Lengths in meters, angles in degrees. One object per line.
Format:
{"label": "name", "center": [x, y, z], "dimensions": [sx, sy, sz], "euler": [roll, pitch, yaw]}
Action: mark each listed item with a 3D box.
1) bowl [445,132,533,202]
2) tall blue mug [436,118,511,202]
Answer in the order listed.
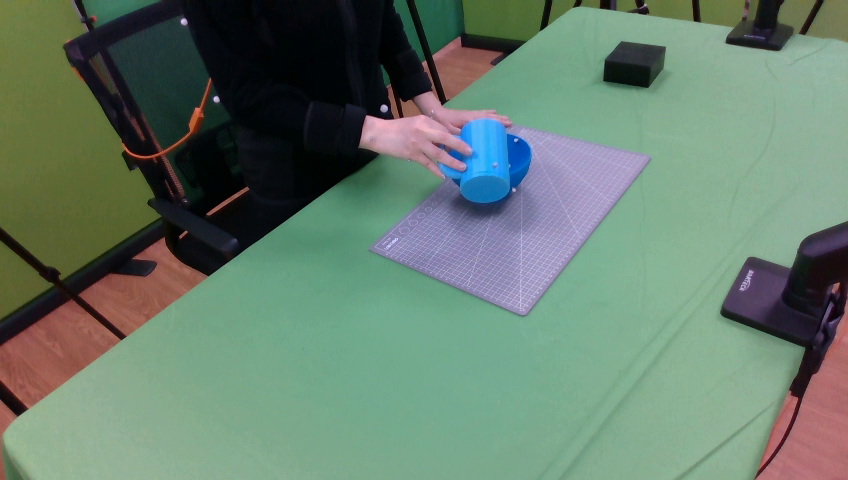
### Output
{"label": "bowl", "center": [0.115, -0.119, 1.056], "dimensions": [0.151, 0.077, 0.150], "euler": [-6, 40, 5]}
{"label": "tall blue mug", "center": [0.081, -0.128, 0.933], "dimensions": [0.077, 0.108, 0.107], "euler": [-31, 48, 43]}
